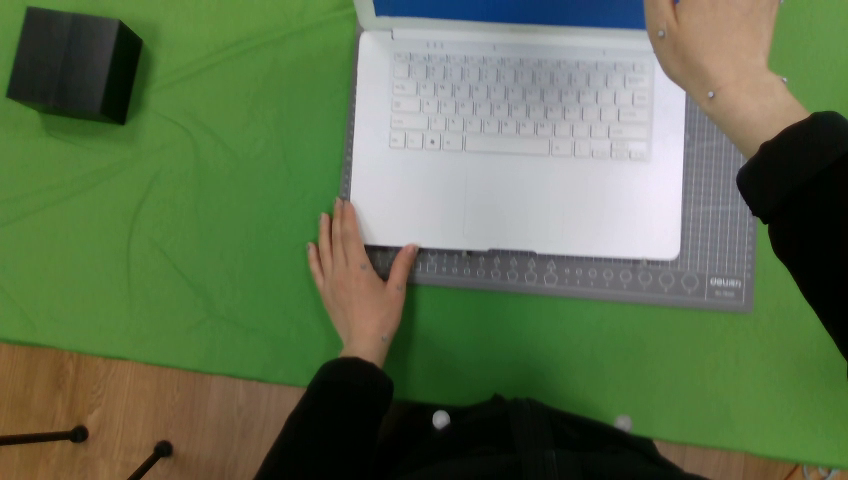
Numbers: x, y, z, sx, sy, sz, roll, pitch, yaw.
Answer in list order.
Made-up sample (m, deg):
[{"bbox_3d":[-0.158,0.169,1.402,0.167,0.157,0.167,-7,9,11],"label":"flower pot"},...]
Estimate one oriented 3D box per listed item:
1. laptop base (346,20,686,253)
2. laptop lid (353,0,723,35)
[{"bbox_3d":[0.098,-0.111,0.652,0.354,0.023,0.235,3,90,1],"label":"laptop base"},{"bbox_3d":[0.101,-0.236,0.540,0.356,0.242,0.013,3,89,3],"label":"laptop lid"}]
